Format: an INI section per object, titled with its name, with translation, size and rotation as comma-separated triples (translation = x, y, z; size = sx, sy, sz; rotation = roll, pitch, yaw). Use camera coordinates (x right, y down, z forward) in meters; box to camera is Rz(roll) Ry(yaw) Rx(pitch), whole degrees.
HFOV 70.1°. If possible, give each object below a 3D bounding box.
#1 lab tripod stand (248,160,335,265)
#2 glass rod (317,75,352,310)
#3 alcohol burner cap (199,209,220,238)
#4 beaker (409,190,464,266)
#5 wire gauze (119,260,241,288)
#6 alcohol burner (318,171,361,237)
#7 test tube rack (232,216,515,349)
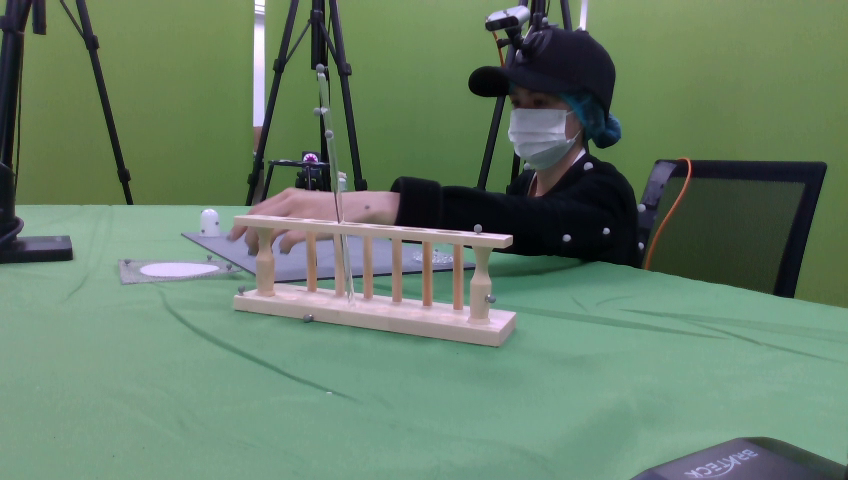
[lab tripod stand]
translation = -0.165, -0.040, 0.817
size = 0.148, 0.131, 0.148
rotation = 5, 8, 0
[glass rod]
translation = -0.075, -0.036, 0.502
size = 0.008, 0.199, 0.008
rotation = -6, 8, 1
[alcohol burner cap]
translation = -0.356, -0.027, 1.002
size = 0.034, 0.048, 0.034
rotation = 3, 7, 0
[beaker]
translation = 0.018, -0.017, 0.840
size = 0.074, 0.100, 0.083
rotation = -3, 10, -35
[wire gauze]
translation = -0.288, 0.034, 0.706
size = 0.122, 0.011, 0.124
rotation = -3, 10, -29
[alcohol burner]
translation = -0.155, -0.066, 1.104
size = 0.078, 0.119, 0.078
rotation = 1, 8, 0
[test tube rack]
translation = -0.045, 0.029, 0.525
size = 0.241, 0.085, 0.067
rotation = 5, 8, 19
